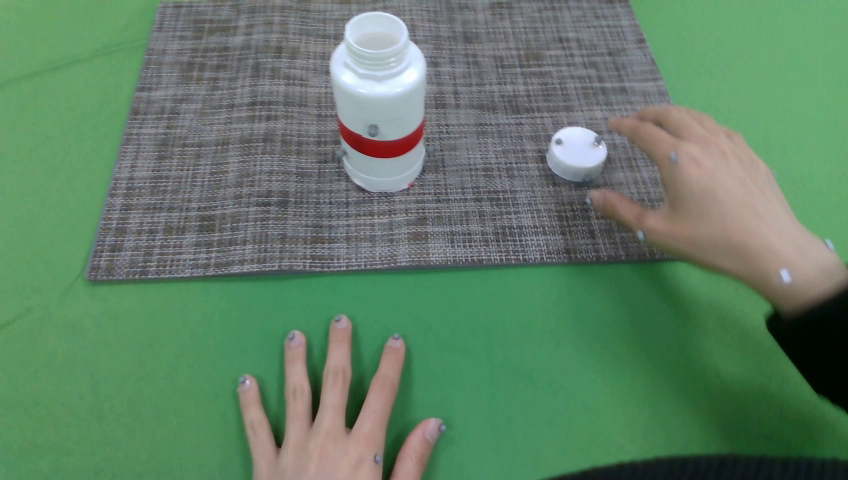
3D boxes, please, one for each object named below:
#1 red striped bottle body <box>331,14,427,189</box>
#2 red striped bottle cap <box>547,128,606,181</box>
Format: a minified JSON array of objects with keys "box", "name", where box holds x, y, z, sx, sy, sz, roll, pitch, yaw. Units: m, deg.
[{"box":[-0.030,-0.095,0.421,0.063,0.120,0.062,1,57,-1],"name":"red striped bottle body"},{"box":[0.119,-0.068,0.474,0.044,0.018,0.044,2,52,-2],"name":"red striped bottle cap"}]
